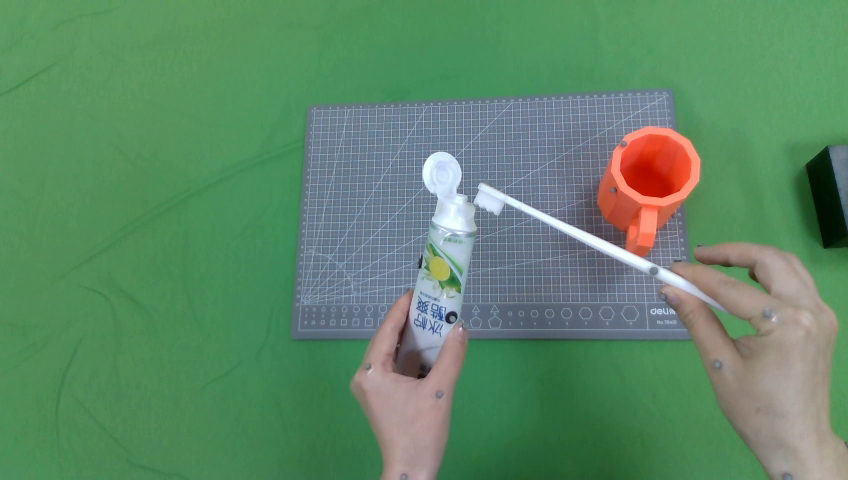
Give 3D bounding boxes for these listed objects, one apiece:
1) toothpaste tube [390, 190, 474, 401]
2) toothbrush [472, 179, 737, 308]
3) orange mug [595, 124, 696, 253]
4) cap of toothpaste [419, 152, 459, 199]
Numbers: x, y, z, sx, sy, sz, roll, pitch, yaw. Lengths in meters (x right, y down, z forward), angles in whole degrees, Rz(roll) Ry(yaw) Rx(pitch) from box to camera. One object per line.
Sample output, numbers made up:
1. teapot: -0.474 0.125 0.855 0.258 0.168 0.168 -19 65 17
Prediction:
1. toothpaste tube: 0.008 0.041 0.465 0.054 0.034 0.165 21 109 32
2. toothbrush: 0.111 0.002 0.396 0.181 0.014 0.016 26 98 18
3. orange mug: 0.231 -0.048 0.646 0.083 0.101 0.125 7 71 9
4. cap of toothpaste: 0.013 -0.049 0.457 0.037 0.011 0.037 0 91 -32
